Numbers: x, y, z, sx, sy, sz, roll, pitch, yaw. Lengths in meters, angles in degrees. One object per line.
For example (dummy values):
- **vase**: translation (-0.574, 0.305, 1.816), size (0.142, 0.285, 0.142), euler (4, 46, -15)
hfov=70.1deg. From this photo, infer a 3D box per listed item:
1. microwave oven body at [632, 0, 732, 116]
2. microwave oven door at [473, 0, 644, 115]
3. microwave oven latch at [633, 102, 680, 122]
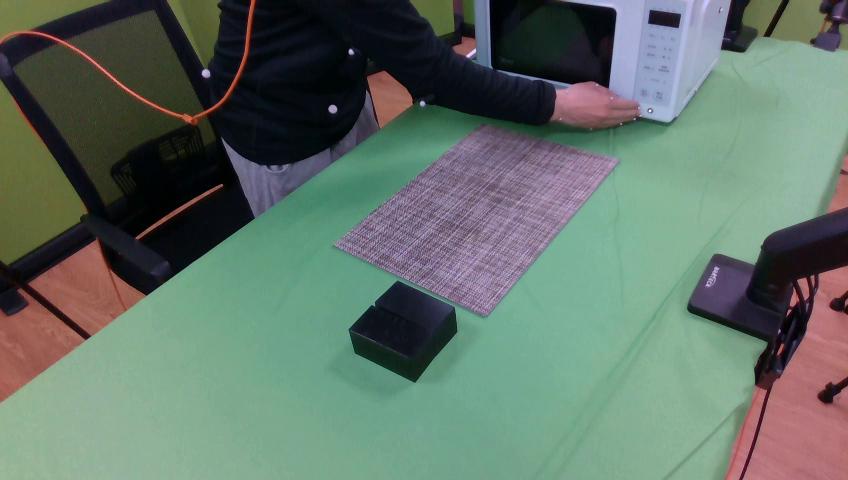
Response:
- **microwave oven body**: translation (0.377, -0.463, 1.267), size (0.438, 0.261, 0.327), euler (21, 49, 30)
- **microwave oven door**: translation (0.257, -0.396, 1.199), size (0.353, 0.245, 0.039), euler (21, 48, 29)
- **microwave oven latch**: translation (0.444, -0.250, 1.158), size (0.078, 0.029, 0.030), euler (22, 49, 31)
